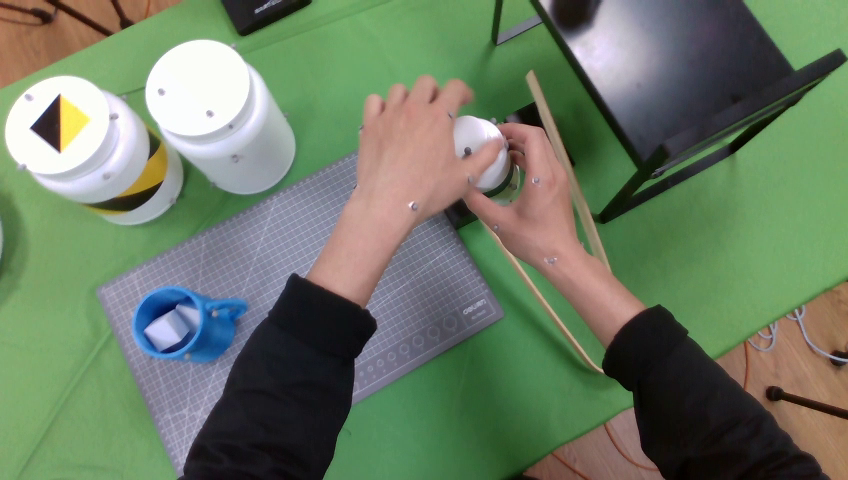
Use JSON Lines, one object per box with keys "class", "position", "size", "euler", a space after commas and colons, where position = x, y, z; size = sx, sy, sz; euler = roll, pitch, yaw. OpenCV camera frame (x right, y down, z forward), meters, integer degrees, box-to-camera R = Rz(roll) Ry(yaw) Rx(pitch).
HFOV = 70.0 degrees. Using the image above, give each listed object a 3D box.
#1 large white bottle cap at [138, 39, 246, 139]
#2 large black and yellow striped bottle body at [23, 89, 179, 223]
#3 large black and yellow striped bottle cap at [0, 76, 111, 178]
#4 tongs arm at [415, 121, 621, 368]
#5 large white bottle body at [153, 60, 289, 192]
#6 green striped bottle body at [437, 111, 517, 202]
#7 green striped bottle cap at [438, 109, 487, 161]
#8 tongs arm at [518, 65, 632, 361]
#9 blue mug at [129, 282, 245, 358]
{"class": "large white bottle cap", "position": [-0.255, -0.167, 0.668], "size": [0.115, 0.018, 0.114], "euler": [0, 77, 1]}
{"class": "large black and yellow striped bottle body", "position": [-0.401, -0.104, 0.744], "size": [0.131, 0.185, 0.130], "euler": [0, 77, 2]}
{"class": "large black and yellow striped bottle cap", "position": [-0.404, -0.125, 0.663], "size": [0.115, 0.019, 0.114], "euler": [0, 78, 0]}
{"class": "tongs arm", "position": [0.116, 0.004, 0.749], "size": [0.051, 0.026, 0.385], "euler": [-34, 91, -8]}
{"class": "large white bottle body", "position": [-0.252, -0.147, 0.750], "size": [0.130, 0.185, 0.130], "euler": [0, 77, 1]}
{"class": "green striped bottle body", "position": [0.052, -0.084, 0.599], "size": [0.063, 0.120, 0.063], "euler": [-4, 75, 17]}
{"class": "green striped bottle cap", "position": [0.035, -0.096, 0.552], "size": [0.044, 0.020, 0.044], "euler": [-4, 73, 13]}
{"class": "tongs arm", "position": [0.187, -0.035, 0.758], "size": [0.028, 0.028, 0.387], "euler": [-20, 90, -12]}
{"class": "blue mug", "position": [-0.276, 0.094, 0.736], "size": [0.116, 0.106, 0.082], "euler": [-22, 77, -4]}
